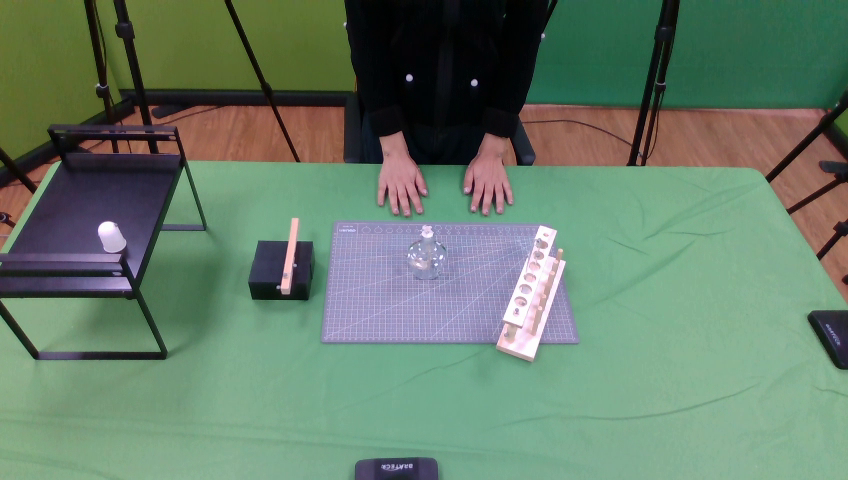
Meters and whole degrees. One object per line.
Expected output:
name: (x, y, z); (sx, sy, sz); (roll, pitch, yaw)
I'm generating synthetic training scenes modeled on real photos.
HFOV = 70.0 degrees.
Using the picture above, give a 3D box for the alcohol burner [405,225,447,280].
alcohol burner: (0.004, 0.017, 1.115); (0.078, 0.120, 0.077); (1, 47, -1)

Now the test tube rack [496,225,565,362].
test tube rack: (0.200, 0.089, 1.081); (0.066, 0.085, 0.241); (19, 48, 13)

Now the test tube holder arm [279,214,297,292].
test tube holder arm: (-0.242, 0.019, 1.087); (0.015, 0.013, 0.177); (8, 49, -12)

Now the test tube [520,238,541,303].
test tube: (0.182, 0.056, 1.042); (0.017, 0.151, 0.017); (1, 44, -1)

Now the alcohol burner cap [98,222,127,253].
alcohol burner cap: (-0.468, -0.007, 0.904); (0.034, 0.048, 0.033); (3, 45, -3)

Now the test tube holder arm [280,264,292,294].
test tube holder arm: (-0.242, 0.057, 1.062); (0.015, 0.010, 0.087); (8, 49, -12)
